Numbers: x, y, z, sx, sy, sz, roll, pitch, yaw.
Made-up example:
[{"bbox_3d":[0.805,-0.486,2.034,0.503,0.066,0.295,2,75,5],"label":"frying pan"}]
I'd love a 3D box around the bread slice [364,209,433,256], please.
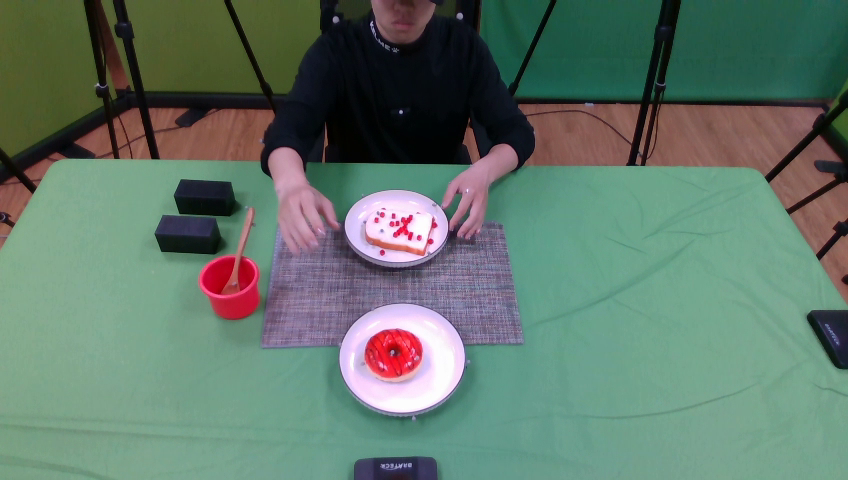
[{"bbox_3d":[-0.053,-0.019,1.199,0.131,0.019,0.104,11,46,3],"label":"bread slice"}]

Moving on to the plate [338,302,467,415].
[{"bbox_3d":[-0.035,0.194,0.992,0.208,0.039,0.206,2,48,-2],"label":"plate"}]

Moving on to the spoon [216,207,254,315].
[{"bbox_3d":[-0.323,0.036,1.053,0.041,0.021,0.193,14,90,11],"label":"spoon"}]

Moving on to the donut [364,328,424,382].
[{"bbox_3d":[-0.049,0.186,0.983,0.099,0.048,0.098,1,45,-1],"label":"donut"}]

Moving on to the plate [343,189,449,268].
[{"bbox_3d":[-0.055,-0.019,1.195,0.209,0.038,0.208,3,46,-2],"label":"plate"}]
